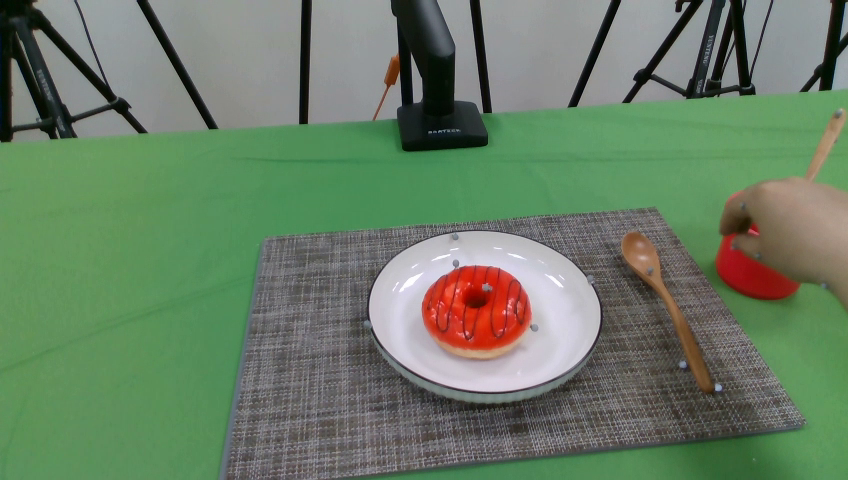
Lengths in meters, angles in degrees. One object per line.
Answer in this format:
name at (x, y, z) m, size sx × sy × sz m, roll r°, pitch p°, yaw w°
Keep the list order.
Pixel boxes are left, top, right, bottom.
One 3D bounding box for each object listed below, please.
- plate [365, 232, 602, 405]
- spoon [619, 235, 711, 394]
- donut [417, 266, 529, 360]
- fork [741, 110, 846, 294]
plate at (0.053, 0.069, 0.549) m, size 0.209 × 0.038 × 0.207 m, roll 0°, pitch 38°, yaw 0°
spoon at (0.225, 0.061, 0.568) m, size 0.042 × 0.022 × 0.191 m, roll 11°, pitch 36°, yaw -13°
donut at (0.044, 0.064, 0.537) m, size 0.099 × 0.049 × 0.098 m, roll -1°, pitch 41°, yaw 1°
fork at (0.368, -0.039, 0.599) m, size 0.028 × 0.019 × 0.207 m, roll 27°, pitch 88°, yaw 30°
